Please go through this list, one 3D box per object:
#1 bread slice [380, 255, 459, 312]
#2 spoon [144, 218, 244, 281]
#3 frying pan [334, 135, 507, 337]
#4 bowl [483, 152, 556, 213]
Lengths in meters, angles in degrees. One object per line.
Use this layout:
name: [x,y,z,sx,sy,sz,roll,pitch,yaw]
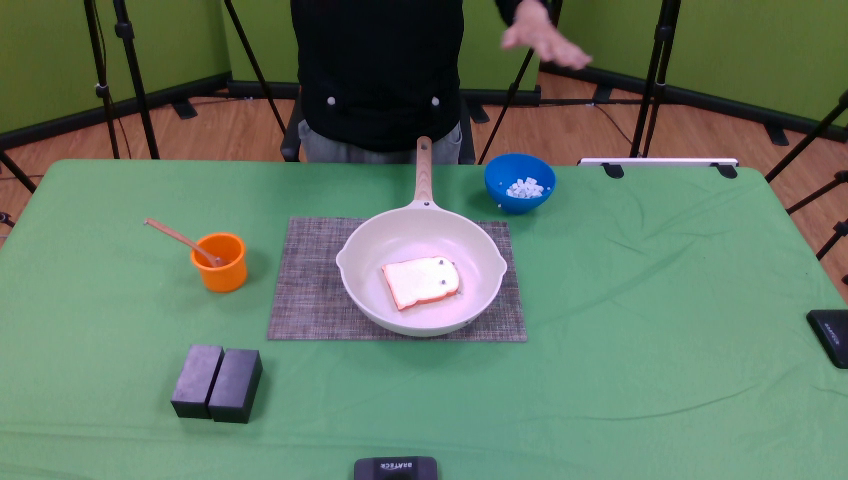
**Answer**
bread slice: [-0.005,0.074,1.119,0.134,0.018,0.106,-16,49,-16]
spoon: [-0.401,0.015,1.065,0.195,0.021,0.041,41,37,-29]
frying pan: [-0.004,-0.026,1.160,0.307,0.103,0.485,4,55,-2]
bowl: [0.195,-0.110,1.280,0.151,0.077,0.150,2,46,-2]
